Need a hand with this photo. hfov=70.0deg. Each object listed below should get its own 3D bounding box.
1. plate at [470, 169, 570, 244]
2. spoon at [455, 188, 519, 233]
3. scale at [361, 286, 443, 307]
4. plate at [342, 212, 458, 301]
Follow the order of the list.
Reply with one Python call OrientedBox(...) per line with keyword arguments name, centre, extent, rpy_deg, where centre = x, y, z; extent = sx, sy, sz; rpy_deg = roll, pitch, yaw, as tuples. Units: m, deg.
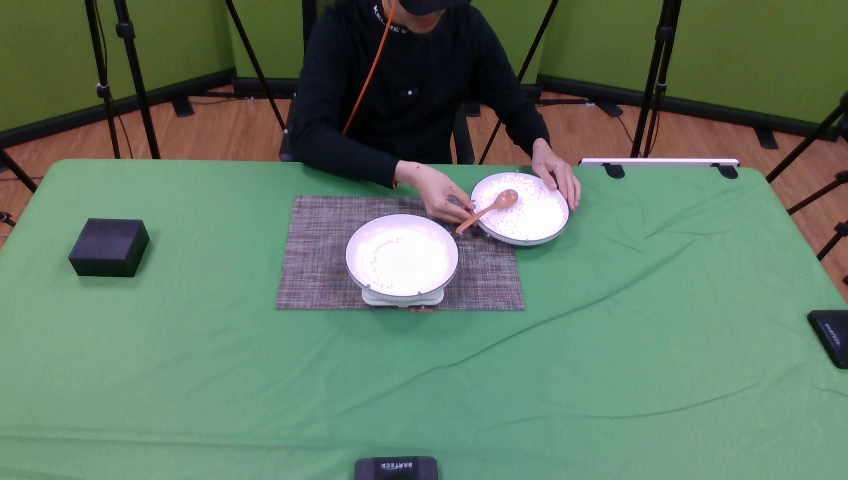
OrientedBox(name="plate", centre=(0.196, -0.065, 1.253), extent=(0.209, 0.038, 0.208), rpy_deg=(3, 47, -3))
OrientedBox(name="spoon", centre=(0.126, -0.061, 1.219), extent=(0.041, 0.022, 0.194), rpy_deg=(37, 47, 26))
OrientedBox(name="scale", centre=(-0.042, 0.040, 1.142), extent=(0.149, 0.032, 0.199), rpy_deg=(0, 46, -4))
OrientedBox(name="plate", centre=(-0.043, 0.033, 1.105), extent=(0.208, 0.039, 0.206), rpy_deg=(2, 46, -2))
